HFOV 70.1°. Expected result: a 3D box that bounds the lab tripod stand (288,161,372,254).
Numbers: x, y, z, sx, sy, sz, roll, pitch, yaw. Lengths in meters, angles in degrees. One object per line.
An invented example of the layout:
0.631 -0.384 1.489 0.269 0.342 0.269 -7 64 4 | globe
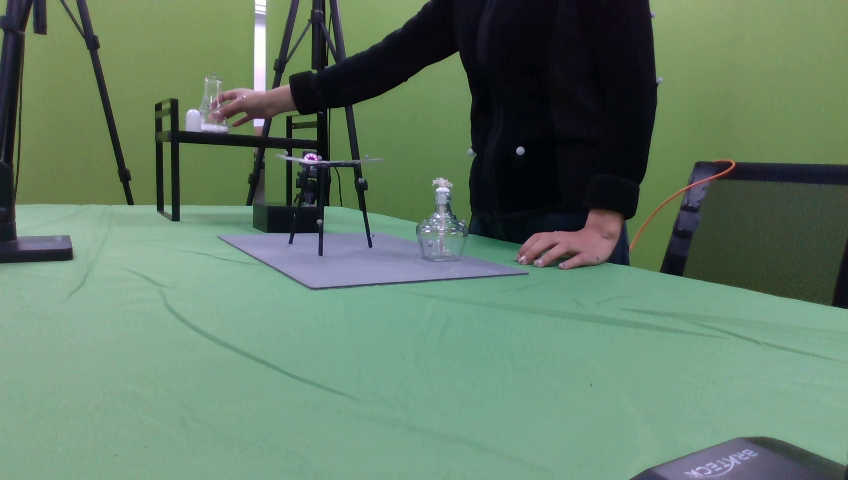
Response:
-0.147 -0.052 0.909 0.148 0.131 0.148 1 8 0 | lab tripod stand

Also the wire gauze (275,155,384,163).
-0.142 -0.118 0.900 0.122 0.011 0.124 -3 8 -37 | wire gauze

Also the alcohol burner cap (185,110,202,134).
-0.470 -0.242 1.234 0.034 0.048 0.034 3 8 0 | alcohol burner cap

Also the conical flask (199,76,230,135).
-0.460 -0.293 1.316 0.075 0.122 0.075 5 6 0 | conical flask

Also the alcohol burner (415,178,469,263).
0.026 -0.028 0.863 0.078 0.119 0.078 1 6 0 | alcohol burner
